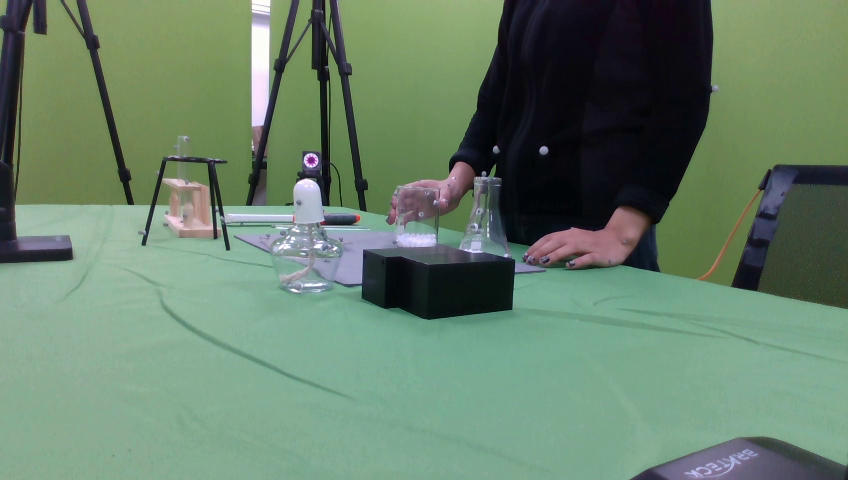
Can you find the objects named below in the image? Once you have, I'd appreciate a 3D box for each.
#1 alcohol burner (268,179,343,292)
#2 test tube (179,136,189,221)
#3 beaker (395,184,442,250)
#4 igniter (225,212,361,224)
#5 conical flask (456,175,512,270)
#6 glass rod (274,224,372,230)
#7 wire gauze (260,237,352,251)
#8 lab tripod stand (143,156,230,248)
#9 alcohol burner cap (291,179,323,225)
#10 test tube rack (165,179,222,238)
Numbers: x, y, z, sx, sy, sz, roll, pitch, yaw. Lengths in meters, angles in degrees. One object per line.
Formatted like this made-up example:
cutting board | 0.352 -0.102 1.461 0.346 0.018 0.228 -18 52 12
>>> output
alcohol burner | -0.124 -0.005 0.637 0.078 0.119 0.078 4 8 0
test tube | -0.425 -0.108 1.070 0.017 0.150 0.017 4 9 0
beaker | -0.009 -0.038 0.968 0.074 0.100 0.084 6 8 21
igniter | -0.262 -0.044 1.240 0.278 0.025 0.057 -2 -1 -31
conical flask | 0.082 -0.025 0.801 0.075 0.122 0.075 2 7 0
glass rod | -0.193 -0.024 1.176 0.201 0.008 0.008 1 7 -31
wire gauze | -0.184 0.004 0.938 0.122 0.011 0.124 -1 5 -24
lab tripod stand | -0.338 -0.058 0.908 0.148 0.131 0.148 4 7 0
alcohol burner cap | -0.124 -0.040 0.632 0.034 0.048 0.034 -3 10 1
test tube rack | -0.423 -0.062 1.098 0.067 0.085 0.241 -2 9 -28
